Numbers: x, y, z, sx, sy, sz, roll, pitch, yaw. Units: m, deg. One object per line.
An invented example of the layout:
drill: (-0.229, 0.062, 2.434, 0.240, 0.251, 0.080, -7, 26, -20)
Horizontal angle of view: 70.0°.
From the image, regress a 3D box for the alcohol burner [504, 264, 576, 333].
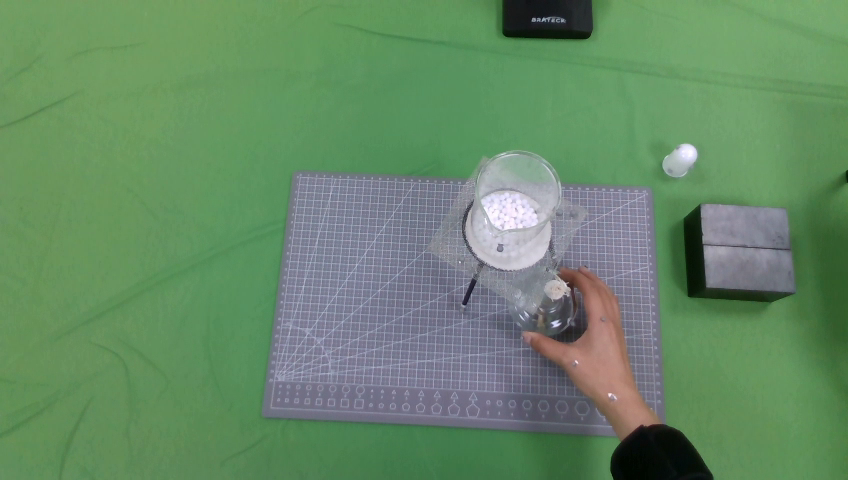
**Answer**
alcohol burner: (0.127, 0.059, 0.652, 0.078, 0.120, 0.077, 0, 73, 1)

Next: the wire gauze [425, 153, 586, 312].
wire gauze: (0.081, -0.012, 0.602, 0.125, 0.011, 0.121, 31, 77, 6)

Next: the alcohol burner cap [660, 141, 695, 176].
alcohol burner cap: (0.315, -0.103, 0.748, 0.034, 0.048, 0.033, 0, 72, 2)

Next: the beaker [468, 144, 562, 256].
beaker: (0.077, -0.028, 0.556, 0.074, 0.101, 0.083, 27, 75, 8)

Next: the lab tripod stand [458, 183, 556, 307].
lab tripod stand: (0.084, 0.001, 0.666, 0.148, 0.132, 0.147, 0, 72, -1)
